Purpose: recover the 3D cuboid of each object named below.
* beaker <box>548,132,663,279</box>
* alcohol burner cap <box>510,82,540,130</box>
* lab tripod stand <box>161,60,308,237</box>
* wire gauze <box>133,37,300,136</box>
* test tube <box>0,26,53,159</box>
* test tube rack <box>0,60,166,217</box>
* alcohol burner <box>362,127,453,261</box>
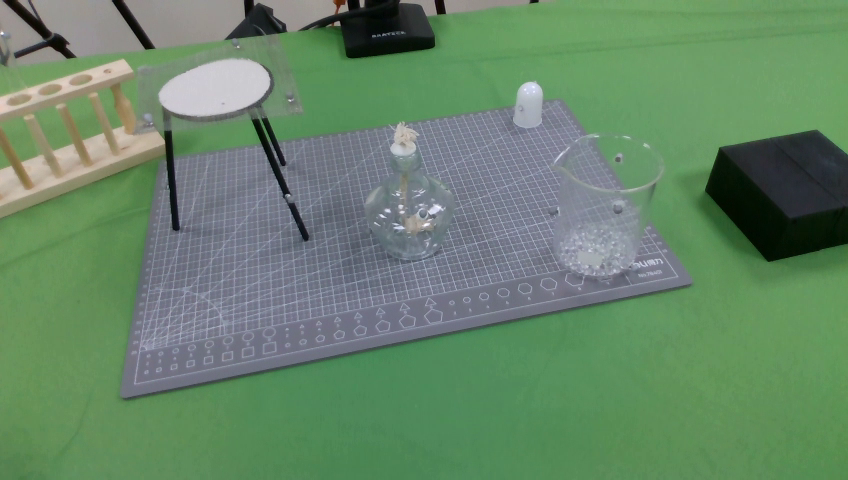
[{"bbox_3d":[0.139,-0.024,0.489,0.084,0.101,0.073,4,44,8],"label":"beaker"},{"bbox_3d":[0.111,-0.148,0.659,0.034,0.048,0.033,-1,44,2],"label":"alcohol burner cap"},{"bbox_3d":[-0.167,-0.076,0.534,0.148,0.133,0.147,-2,46,2],"label":"lab tripod stand"},{"bbox_3d":[-0.170,-0.124,0.486,0.125,0.011,0.120,-14,45,-10],"label":"wire gauze"},{"bbox_3d":[-0.391,-0.145,0.582,0.017,0.151,0.017,0,38,0],"label":"test tube"},{"bbox_3d":[-0.395,-0.091,0.599,0.242,0.086,0.066,-28,49,-24],"label":"test tube rack"},{"bbox_3d":[-0.015,-0.041,0.504,0.078,0.120,0.077,-2,42,2],"label":"alcohol burner"}]
